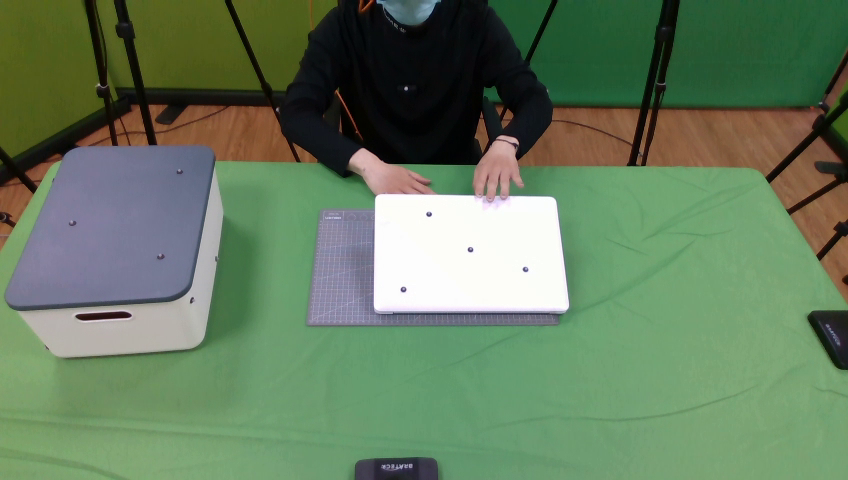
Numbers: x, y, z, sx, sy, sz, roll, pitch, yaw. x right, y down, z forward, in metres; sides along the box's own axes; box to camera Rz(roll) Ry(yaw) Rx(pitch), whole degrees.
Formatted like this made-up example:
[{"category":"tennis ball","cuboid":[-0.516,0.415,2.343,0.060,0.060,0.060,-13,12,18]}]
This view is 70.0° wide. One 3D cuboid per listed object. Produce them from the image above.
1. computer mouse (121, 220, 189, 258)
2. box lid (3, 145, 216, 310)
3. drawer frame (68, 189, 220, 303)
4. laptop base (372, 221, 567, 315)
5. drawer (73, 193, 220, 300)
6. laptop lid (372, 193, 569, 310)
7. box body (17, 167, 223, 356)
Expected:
[{"category":"computer mouse","cuboid":[-0.511,-0.003,1.152,0.117,0.041,0.062,12,42,-3]},{"category":"box lid","cuboid":[-0.495,-0.040,0.998,0.263,0.015,0.369,-2,47,-8]},{"category":"drawer frame","cuboid":[-0.495,0.006,1.100,0.202,0.083,0.212,-1,48,-4]},{"category":"laptop base","cuboid":[0.080,0.049,1.159,0.355,0.023,0.234,0,43,-4]},{"category":"drawer","cuboid":[-0.494,0.009,1.103,0.195,0.073,0.210,2,45,-6]},{"category":"laptop lid","cuboid":[0.083,0.018,1.114,0.357,0.013,0.240,2,66,-3]},{"category":"box body","cuboid":[-0.499,0.013,1.051,0.254,0.161,0.361,-3,47,-7]}]
